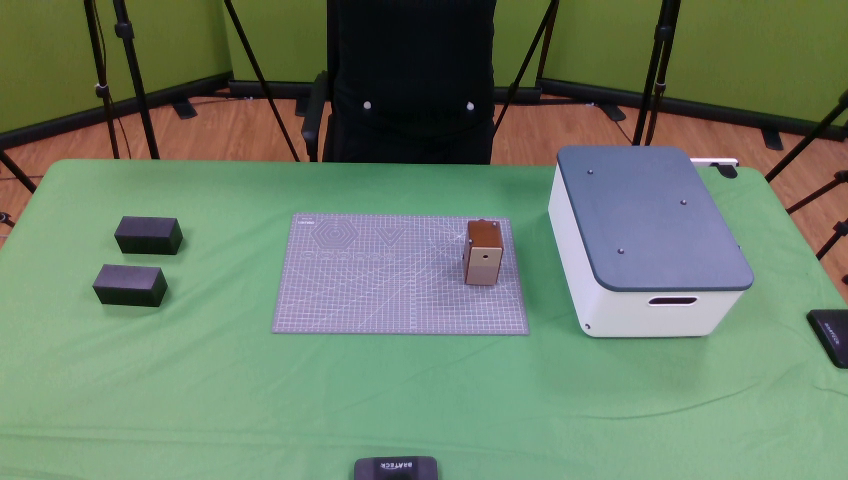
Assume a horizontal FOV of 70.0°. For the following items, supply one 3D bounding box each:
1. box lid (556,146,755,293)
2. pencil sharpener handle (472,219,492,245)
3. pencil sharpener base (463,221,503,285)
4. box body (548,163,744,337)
[{"bbox_3d":[0.394,-0.051,1.075,0.263,0.015,0.369,0,46,-4],"label":"box lid"},{"bbox_3d":[0.104,-0.021,1.145,0.036,0.068,0.030,7,44,-8],"label":"pencil sharpener handle"},{"bbox_3d":[0.107,0.024,1.119,0.061,0.107,0.076,1,45,-2],"label":"pencil sharpener base"},{"bbox_3d":[0.391,-0.001,1.130,0.254,0.161,0.361,-1,46,-4],"label":"box body"}]
